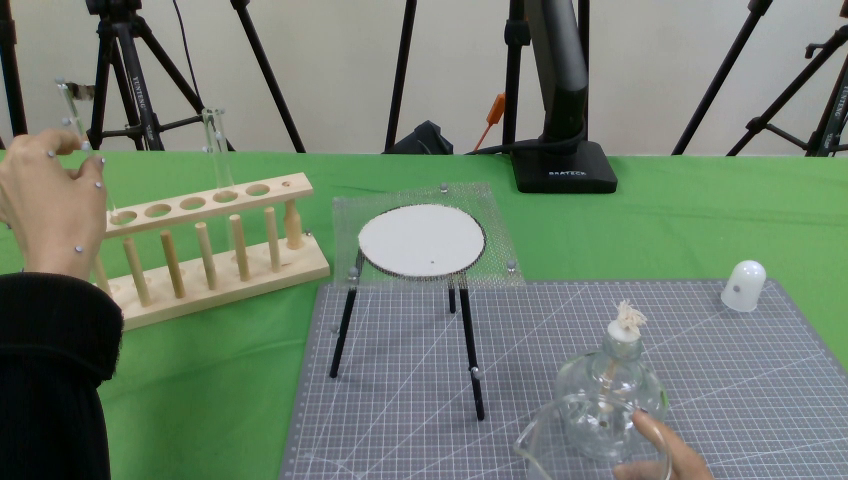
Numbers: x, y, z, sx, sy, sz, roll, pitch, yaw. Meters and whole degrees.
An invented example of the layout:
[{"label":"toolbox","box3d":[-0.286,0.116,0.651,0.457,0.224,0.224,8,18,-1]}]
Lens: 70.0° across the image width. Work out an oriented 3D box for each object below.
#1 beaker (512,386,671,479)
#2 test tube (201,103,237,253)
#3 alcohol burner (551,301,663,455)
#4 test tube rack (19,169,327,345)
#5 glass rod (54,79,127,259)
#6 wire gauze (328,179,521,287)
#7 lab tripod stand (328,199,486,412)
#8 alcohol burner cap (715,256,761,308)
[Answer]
[{"label":"beaker","box3d":[0.090,0.147,0.355,0.084,0.101,0.073,3,36,4]},{"label":"test tube","box3d":[-0.185,-0.052,0.558,0.017,0.151,0.017,1,33,0]},{"label":"alcohol burner","box3d":[0.129,0.092,0.420,0.078,0.120,0.077,0,34,0]},{"label":"test tube rack","box3d":[-0.219,0.010,0.557,0.243,0.086,0.066,-15,39,-20]},{"label":"glass rod","box3d":[-0.269,-0.038,0.508,0.008,0.201,0.008,-1,37,1]},{"label":"wire gauze","box3d":[-0.005,-0.007,0.422,0.125,0.011,0.120,-4,36,-5]},{"label":"lab tripod stand","box3d":[-0.005,0.047,0.462,0.148,0.132,0.147,0,38,0]},{"label":"alcohol burner cap","box3d":[0.292,0.036,0.561,0.034,0.048,0.033,1,36,0]}]
